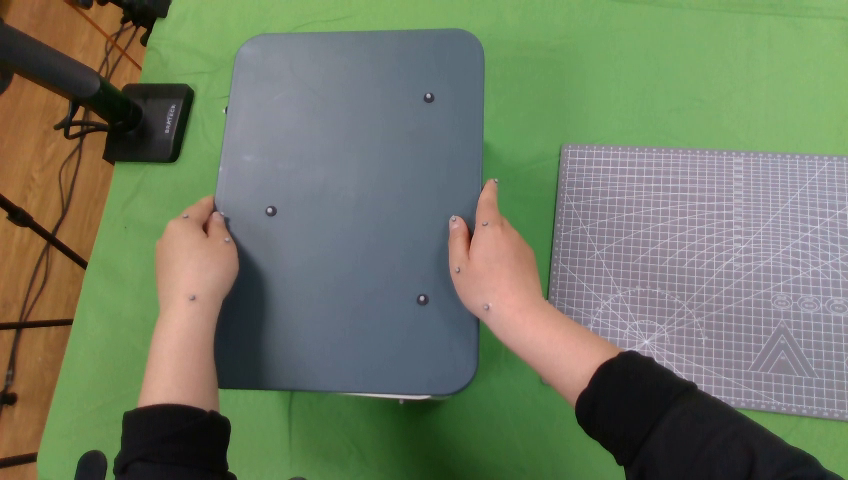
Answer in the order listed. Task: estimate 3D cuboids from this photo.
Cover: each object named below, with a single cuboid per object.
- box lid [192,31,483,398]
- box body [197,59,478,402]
[{"bbox_3d":[-0.075,-0.040,0.585,0.263,0.015,0.369,0,74,6],"label":"box lid"},{"bbox_3d":[-0.074,-0.003,0.692,0.253,0.161,0.362,2,73,11],"label":"box body"}]
